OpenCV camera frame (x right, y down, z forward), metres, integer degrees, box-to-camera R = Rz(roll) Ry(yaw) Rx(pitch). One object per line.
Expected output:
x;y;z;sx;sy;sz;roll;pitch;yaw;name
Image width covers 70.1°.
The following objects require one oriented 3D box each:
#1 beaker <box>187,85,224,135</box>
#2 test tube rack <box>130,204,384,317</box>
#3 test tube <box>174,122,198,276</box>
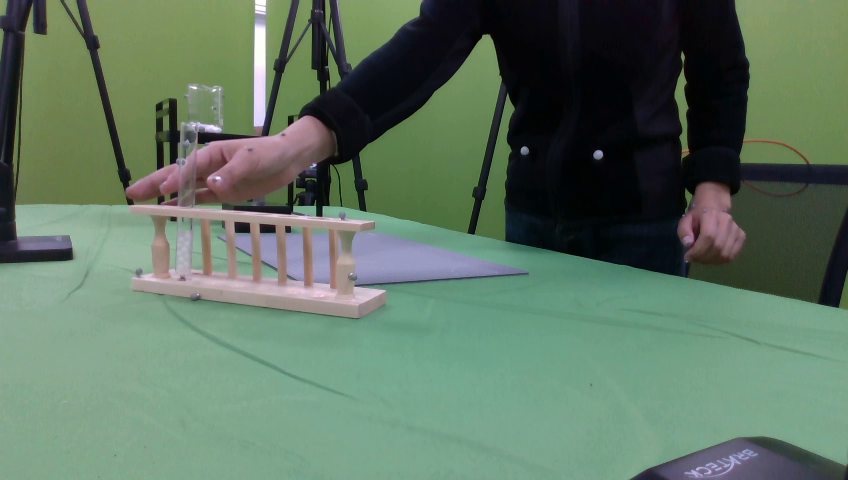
-0.466;-0.276;1.296;0.074;0.100;0.083;-3;10;-35;beaker
-0.162;0.013;0.589;0.242;0.085;0.067;5;8;17;test tube rack
-0.232;-0.038;0.587;0.017;0.150;0.017;6;9;-1;test tube
